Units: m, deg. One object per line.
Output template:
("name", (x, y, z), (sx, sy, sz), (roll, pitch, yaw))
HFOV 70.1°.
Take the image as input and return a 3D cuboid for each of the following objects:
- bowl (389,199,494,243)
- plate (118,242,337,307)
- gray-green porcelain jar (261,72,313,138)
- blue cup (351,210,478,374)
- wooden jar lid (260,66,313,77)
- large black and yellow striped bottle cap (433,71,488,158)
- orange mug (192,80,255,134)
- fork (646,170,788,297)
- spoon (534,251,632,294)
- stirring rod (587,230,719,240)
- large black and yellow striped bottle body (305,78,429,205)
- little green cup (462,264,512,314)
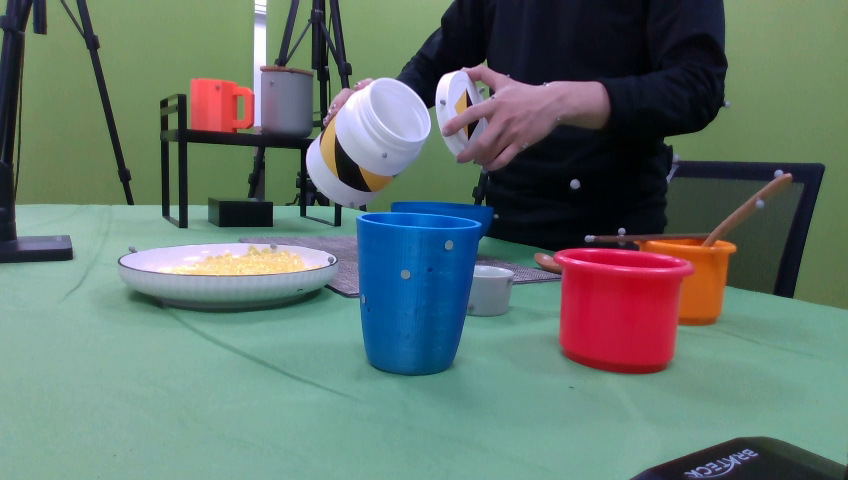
("bowl", (0.024, -0.015, 0.872), (0.151, 0.077, 0.151), (3, 7, 0))
("plate", (-0.194, 0.033, 0.615), (0.209, 0.038, 0.209), (2, 7, 0))
("gray-green porcelain jar", (-0.284, -0.276, 1.253), (0.106, 0.126, 0.106), (2, 8, 0))
("blue cup", (-0.009, 0.034, 0.414), (0.093, 0.100, 0.092), (4, 8, 0))
("wooden jar lid", (-0.283, -0.339, 1.244), (0.108, 0.020, 0.108), (5, 8, 0))
("large black and yellow striped bottle cap", (0.050, -0.166, 0.803), (0.018, 0.115, 0.115), (-8, 1, 34))
("orange mug", (-0.388, -0.257, 1.173), (0.126, 0.100, 0.083), (-1, 7, 9))
("fork", (0.256, 0.004, 0.543), (0.028, 0.018, 0.207), (3, -36, -10))
("spoon", (0.194, 0.038, 0.753), (0.042, 0.021, 0.193), (14, 2, -20))
("stirring rod", (0.226, -0.005, 0.587), (0.177, 0.006, 0.014), (-2, 10, -29))
("large black and yellow striped bottle body", (-0.087, -0.149, 0.923), (0.131, 0.130, 0.183), (-4, -22, -41))
("little green cup", (0.053, 0.047, 0.580), (0.061, 0.038, 0.061), (3, 8, 0))
